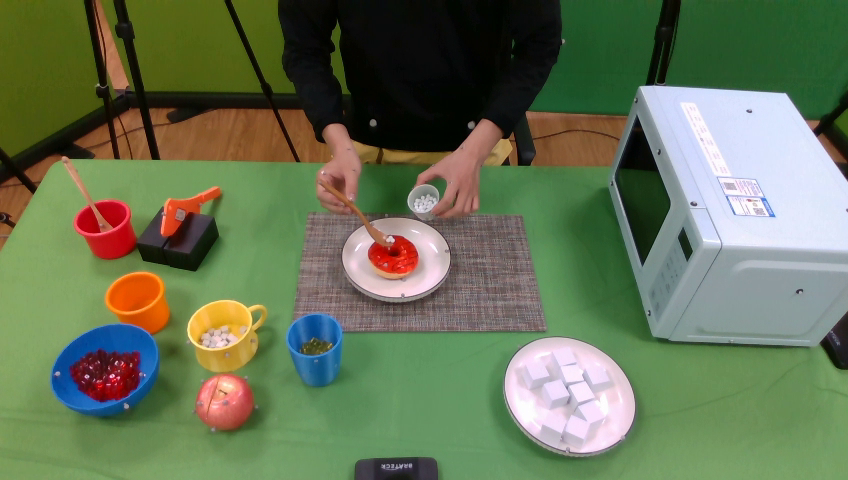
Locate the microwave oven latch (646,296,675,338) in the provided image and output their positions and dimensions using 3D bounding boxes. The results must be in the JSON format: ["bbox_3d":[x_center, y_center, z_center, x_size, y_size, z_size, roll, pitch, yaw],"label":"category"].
[{"bbox_3d":[0.412,0.134,1.061,0.030,0.029,0.078,4,45,1],"label":"microwave oven latch"}]

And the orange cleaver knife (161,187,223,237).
[{"bbox_3d":[-0.448,-0.058,1.180,0.012,0.077,0.211,13,17,6],"label":"orange cleaver knife"}]

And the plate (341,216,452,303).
[{"bbox_3d":[-0.052,0.039,1.140,0.209,0.038,0.208,2,46,-2],"label":"plate"}]

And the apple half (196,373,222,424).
[{"bbox_3d":[-0.322,0.240,0.907,0.033,0.081,0.081,7,46,0],"label":"apple half"}]

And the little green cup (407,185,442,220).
[{"bbox_3d":[0.003,-0.068,1.123,0.061,0.039,0.061,-6,69,15],"label":"little green cup"}]

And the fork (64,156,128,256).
[{"bbox_3d":[-0.614,-0.064,1.129,0.028,0.018,0.207,-30,97,-17],"label":"fork"}]

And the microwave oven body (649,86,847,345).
[{"bbox_3d":[0.568,-0.053,1.118,0.326,0.261,0.439,2,45,-1],"label":"microwave oven body"}]

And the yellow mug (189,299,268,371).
[{"bbox_3d":[-0.316,0.148,1.002,0.131,0.064,0.099,-32,56,-31],"label":"yellow mug"}]

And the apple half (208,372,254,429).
[{"bbox_3d":[-0.283,0.244,0.908,0.053,0.075,0.080,7,42,-1],"label":"apple half"}]

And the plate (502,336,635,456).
[{"bbox_3d":[0.225,0.248,0.963,0.208,0.039,0.206,2,46,-2],"label":"plate"}]

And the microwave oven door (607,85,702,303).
[{"bbox_3d":[0.423,-0.094,1.141,0.039,0.245,0.353,2,46,-1],"label":"microwave oven door"}]

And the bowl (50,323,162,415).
[{"bbox_3d":[-0.472,0.209,0.924,0.151,0.077,0.150,3,45,-2],"label":"bowl"}]

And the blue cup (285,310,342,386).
[{"bbox_3d":[-0.170,0.179,0.958,0.093,0.101,0.092,2,44,-1],"label":"blue cup"}]

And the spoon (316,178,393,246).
[{"bbox_3d":[-0.118,-0.048,1.050,0.021,0.195,0.041,-33,37,12],"label":"spoon"}]

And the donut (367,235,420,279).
[{"bbox_3d":[-0.056,0.032,1.132,0.099,0.048,0.098,3,45,-3],"label":"donut"}]
